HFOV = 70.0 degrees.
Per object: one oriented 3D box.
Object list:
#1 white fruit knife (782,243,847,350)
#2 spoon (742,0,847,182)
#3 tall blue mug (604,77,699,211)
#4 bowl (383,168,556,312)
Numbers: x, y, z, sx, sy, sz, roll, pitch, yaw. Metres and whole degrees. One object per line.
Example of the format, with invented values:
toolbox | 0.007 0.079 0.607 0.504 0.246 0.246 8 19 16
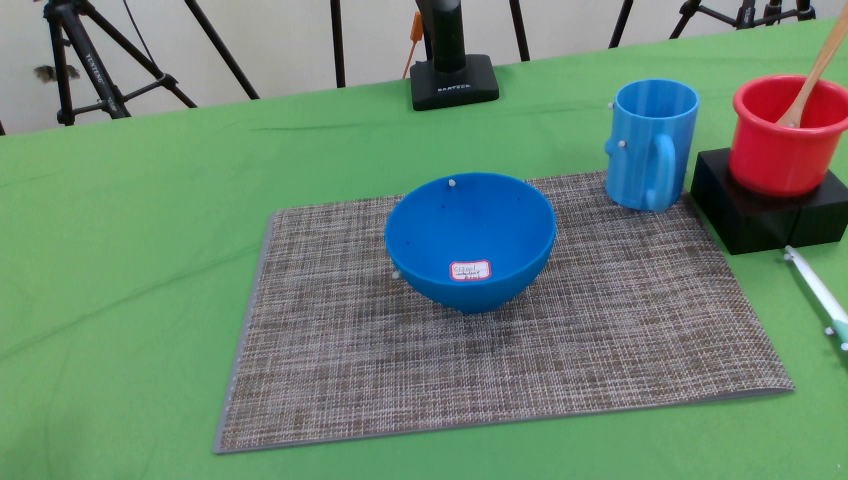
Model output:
white fruit knife | 0.339 0.071 0.485 0.027 0.016 0.205 14 38 -15
spoon | 0.344 -0.139 0.539 0.041 0.022 0.194 32 101 38
tall blue mug | 0.231 -0.088 0.599 0.078 0.109 0.106 -21 43 -13
bowl | 0.043 0.012 0.549 0.151 0.077 0.150 -5 43 5
